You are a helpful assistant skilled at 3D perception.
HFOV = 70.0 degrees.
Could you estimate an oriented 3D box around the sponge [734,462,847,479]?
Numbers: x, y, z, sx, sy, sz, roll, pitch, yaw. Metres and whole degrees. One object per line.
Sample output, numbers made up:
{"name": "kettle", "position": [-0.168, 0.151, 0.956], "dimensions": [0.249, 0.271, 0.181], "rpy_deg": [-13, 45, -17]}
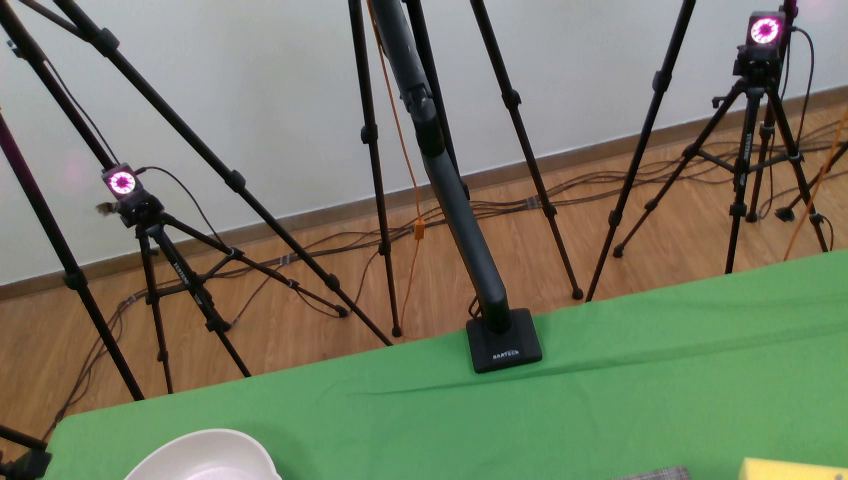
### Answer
{"name": "sponge", "position": [0.429, 0.366, 0.681], "dimensions": [0.118, 0.061, 0.205], "rpy_deg": [0, 44, 17]}

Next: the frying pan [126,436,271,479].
{"name": "frying pan", "position": [-0.334, 0.496, 0.821], "dimensions": [0.307, 0.104, 0.482], "rpy_deg": [-19, 34, -1]}
